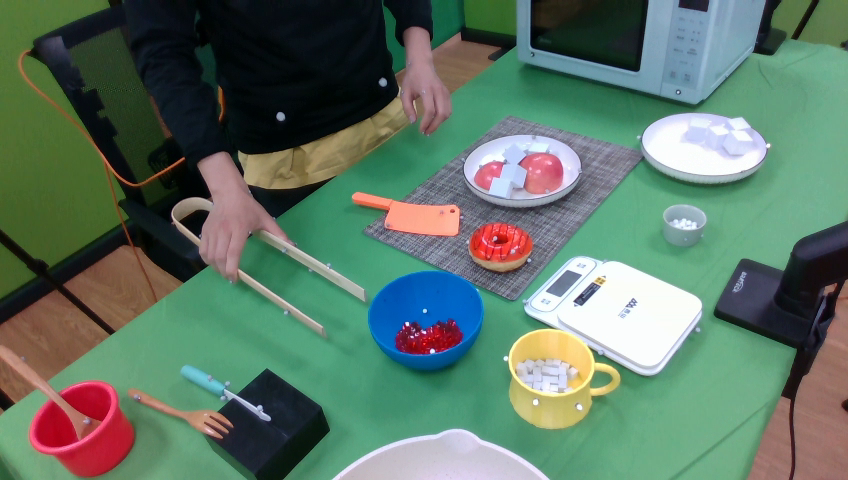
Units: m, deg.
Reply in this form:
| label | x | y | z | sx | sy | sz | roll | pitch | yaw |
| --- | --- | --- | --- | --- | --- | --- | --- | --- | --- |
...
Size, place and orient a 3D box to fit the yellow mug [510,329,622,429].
| label | x | y | z | sx | sy | sz | roll | pitch | yaw |
| --- | --- | --- | --- | --- | --- | --- | --- | --- | --- |
| yellow mug | 0.169 | 0.164 | 0.721 | 0.130 | 0.064 | 0.099 | 0 | 40 | 8 |

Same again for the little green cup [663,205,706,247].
| label | x | y | z | sx | sy | sz | roll | pitch | yaw |
| --- | --- | --- | --- | --- | --- | --- | --- | --- | --- |
| little green cup | 0.396 | -0.020 | 0.926 | 0.061 | 0.039 | 0.061 | -4 | 40 | 4 |

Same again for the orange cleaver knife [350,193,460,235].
| label | x | y | z | sx | sy | sz | roll | pitch | yaw |
| --- | --- | --- | --- | --- | --- | --- | --- | --- | --- |
| orange cleaver knife | -0.036 | -0.044 | 1.028 | 0.210 | 0.012 | 0.077 | 10 | 49 | 17 |

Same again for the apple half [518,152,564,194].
| label | x | y | z | sx | sy | sz | roll | pitch | yaw |
| --- | --- | --- | --- | --- | --- | --- | --- | --- | --- |
| apple half | 0.204 | -0.124 | 1.048 | 0.075 | 0.053 | 0.080 | -7 | 41 | -3 |

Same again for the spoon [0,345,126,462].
| label | x | y | z | sx | sy | sz | roll | pitch | yaw |
| --- | --- | --- | --- | --- | --- | --- | --- | --- | --- |
| spoon | -0.434 | 0.192 | 0.720 | 0.194 | 0.021 | 0.042 | 47 | 53 | -7 |

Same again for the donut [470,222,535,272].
| label | x | y | z | sx | sy | sz | roll | pitch | yaw |
| --- | --- | --- | --- | --- | --- | --- | --- | --- | --- |
| donut | 0.119 | 0.009 | 0.923 | 0.099 | 0.048 | 0.098 | -4 | 38 | 3 |

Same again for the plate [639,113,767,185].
| label | x | y | z | sx | sy | sz | roll | pitch | yaw |
| --- | --- | --- | --- | --- | --- | --- | --- | --- | --- |
| plate | 0.489 | -0.157 | 1.074 | 0.207 | 0.039 | 0.206 | -4 | 40 | 4 |

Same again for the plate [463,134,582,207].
| label | x | y | z | sx | sy | sz | roll | pitch | yaw |
| --- | --- | --- | --- | --- | --- | --- | --- | --- | --- |
| plate | 0.173 | -0.119 | 1.070 | 0.209 | 0.038 | 0.208 | -4 | 40 | 4 |

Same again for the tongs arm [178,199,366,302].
| label | x | y | z | sx | sy | sz | roll | pitch | yaw |
| --- | --- | --- | --- | --- | --- | --- | --- | --- | --- |
| tongs arm | -0.244 | 0.014 | 0.924 | 0.382 | 0.026 | 0.051 | 27 | 54 | 29 |

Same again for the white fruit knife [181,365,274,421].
| label | x | y | z | sx | sy | sz | roll | pitch | yaw |
| --- | --- | --- | --- | --- | --- | --- | --- | --- | --- |
| white fruit knife | -0.246 | 0.187 | 0.747 | 0.205 | 0.027 | 0.016 | 9 | 41 | 40 |

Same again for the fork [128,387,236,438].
| label | x | y | z | sx | sy | sz | roll | pitch | yaw |
| --- | --- | --- | --- | --- | --- | --- | --- | --- | --- |
| fork | -0.305 | 0.207 | 0.744 | 0.206 | 0.019 | 0.028 | 3 | 42 | 36 |

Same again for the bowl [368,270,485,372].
| label | x | y | z | sx | sy | sz | roll | pitch | yaw |
| --- | --- | --- | --- | --- | --- | --- | --- | --- | --- |
| bowl | 0.007 | 0.118 | 0.791 | 0.151 | 0.077 | 0.150 | -4 | 40 | 4 |

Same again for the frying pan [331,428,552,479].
| label | x | y | z | sx | sy | sz | roll | pitch | yaw |
| --- | --- | --- | --- | --- | --- | --- | --- | --- | --- |
| frying pan | -0.089 | 0.306 | 0.564 | 0.487 | 0.103 | 0.306 | 10 | 41 | 7 |

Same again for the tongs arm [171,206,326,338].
| label | x | y | z | sx | sy | sz | roll | pitch | yaw |
| --- | --- | --- | --- | --- | --- | --- | --- | --- | --- |
| tongs arm | -0.273 | 0.041 | 0.899 | 0.384 | 0.028 | 0.028 | 30 | 59 | 31 |

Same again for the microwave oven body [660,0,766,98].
| label | x | y | z | sx | sy | sz | roll | pitch | yaw |
| --- | --- | --- | --- | --- | --- | --- | --- | --- | --- |
| microwave oven body | 0.472 | -0.513 | 1.317 | 0.438 | 0.261 | 0.327 | 26 | 51 | 34 |

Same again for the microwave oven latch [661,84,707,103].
| label | x | y | z | sx | sy | sz | roll | pitch | yaw |
| --- | --- | --- | --- | --- | --- | --- | --- | --- | --- |
| microwave oven latch | 0.517 | -0.296 | 1.204 | 0.078 | 0.029 | 0.030 | 27 | 52 | 35 |

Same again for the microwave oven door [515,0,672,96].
| label | x | y | z | sx | sy | sz | roll | pitch | yaw |
| --- | --- | --- | --- | --- | --- | --- | --- | --- | --- |
| microwave oven door | 0.343 | -0.454 | 1.259 | 0.353 | 0.245 | 0.039 | 26 | 51 | 33 |

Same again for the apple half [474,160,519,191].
| label | x | y | z | sx | sy | sz | roll | pitch | yaw |
| --- | --- | --- | --- | --- | --- | --- | --- | --- | --- |
| apple half | 0.130 | -0.120 | 1.068 | 0.081 | 0.033 | 0.081 | -3 | 37 | 3 |

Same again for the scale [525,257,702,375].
| label | x | y | z | sx | sy | sz | roll | pitch | yaw |
| --- | --- | --- | --- | --- | --- | --- | --- | --- | --- |
| scale | 0.254 | 0.091 | 0.821 | 0.199 | 0.032 | 0.149 | 27 | 51 | 35 |
